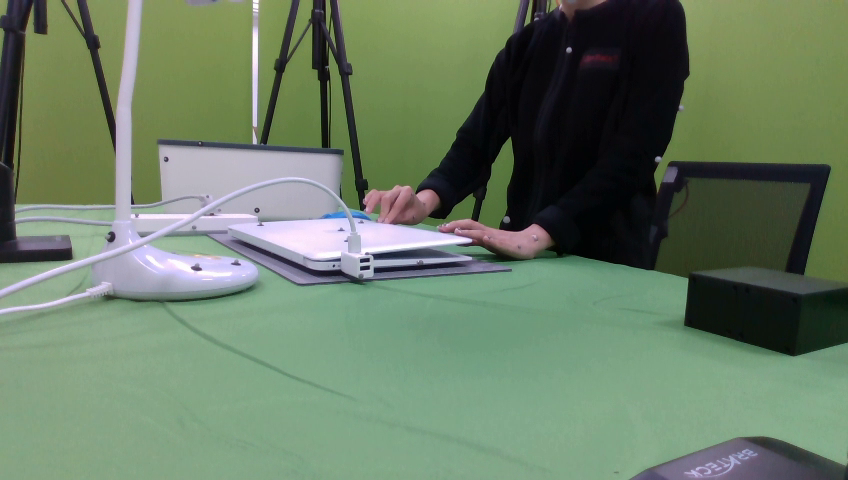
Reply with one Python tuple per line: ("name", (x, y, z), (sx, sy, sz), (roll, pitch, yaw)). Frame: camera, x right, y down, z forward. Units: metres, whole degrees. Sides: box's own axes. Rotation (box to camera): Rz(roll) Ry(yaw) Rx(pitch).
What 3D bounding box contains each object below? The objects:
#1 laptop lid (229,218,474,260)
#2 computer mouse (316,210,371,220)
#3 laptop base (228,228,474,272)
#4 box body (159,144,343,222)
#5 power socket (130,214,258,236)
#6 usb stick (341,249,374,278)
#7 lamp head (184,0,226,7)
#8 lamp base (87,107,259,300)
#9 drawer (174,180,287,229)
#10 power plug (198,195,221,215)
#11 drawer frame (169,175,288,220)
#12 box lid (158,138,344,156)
("laptop lid", (-0.121, -0.010, 0.886), (0.243, 0.013, 0.355), (-4, 10, -32))
("computer mouse", (-0.157, -0.034, 1.139), (0.118, 0.041, 0.062), (-6, 12, -28))
("laptop base", (-0.123, 0.012, 0.889), (0.237, 0.023, 0.352), (2, 6, -35))
("box body", (-0.364, -0.128, 1.337), (0.365, 0.160, 0.253), (1, 7, -8))
("power socket", (-0.397, -0.028, 1.048), (0.228, 0.032, 0.072), (-3, 7, -35))
("usb stick", (-0.079, 0.026, 0.686), (0.021, 0.027, 0.059), (-7, 8, -30))
("lamp head", (-0.229, -0.320, 0.627), (0.112, 0.112, 0.123), (6, -36, 26))
("lamp base", (-0.254, -0.039, 0.603), (0.160, 0.180, 0.179), (5, 10, 18))
("drawer", (-0.413, -0.080, 1.325), (0.212, 0.073, 0.194), (-8, 11, -8))
("power plug", (-0.386, -0.055, 1.088), (0.035, 0.052, 0.072), (-2, 7, -24))
("drawer frame", (-0.414, -0.096, 1.320), (0.214, 0.082, 0.201), (-5, 7, -8))
("box lid", (-0.363, -0.201, 1.328), (0.372, 0.015, 0.262), (2, 7, -8))
